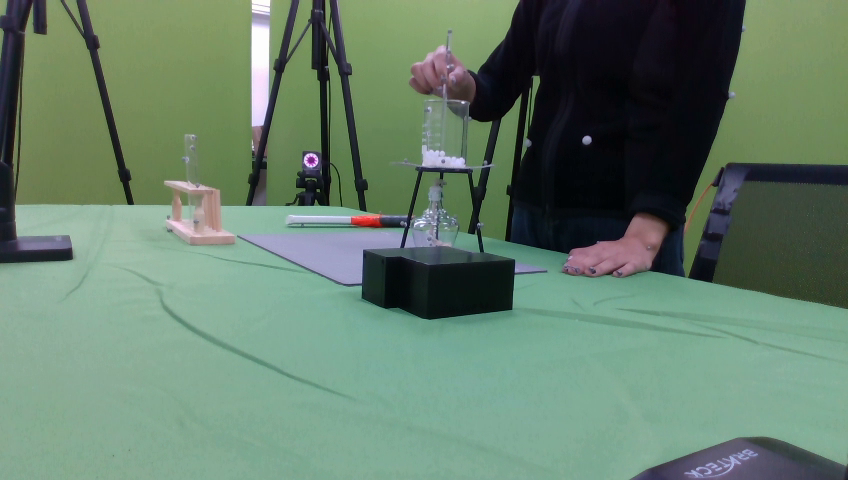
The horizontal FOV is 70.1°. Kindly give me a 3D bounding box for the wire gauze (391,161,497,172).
[{"bbox_3d":[0.028,-0.114,0.920,0.122,0.011,0.124,-5,13,-34],"label":"wire gauze"}]

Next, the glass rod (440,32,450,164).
[{"bbox_3d":[0.032,-0.213,0.904,0.008,0.199,0.008,3,-2,0],"label":"glass rod"}]

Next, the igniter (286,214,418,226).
[{"bbox_3d":[-0.145,-0.043,1.262,0.278,0.025,0.057,-1,-2,-25],"label":"igniter"}]

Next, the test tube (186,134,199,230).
[{"bbox_3d":[-0.360,-0.089,0.946,0.017,0.150,0.017,0,10,0],"label":"test tube"}]

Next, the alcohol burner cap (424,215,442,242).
[{"bbox_3d":[0.017,-0.022,1.098,0.034,0.048,0.034,2,9,0],"label":"alcohol burner cap"}]

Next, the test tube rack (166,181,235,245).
[{"bbox_3d":[-0.383,-0.051,1.024,0.067,0.085,0.241,-2,9,-31],"label":"test tube rack"}]

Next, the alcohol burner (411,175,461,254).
[{"bbox_3d":[0.018,-0.040,0.931,0.078,0.119,0.078,0,7,0],"label":"alcohol burner"}]

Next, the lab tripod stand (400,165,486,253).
[{"bbox_3d":[0.028,-0.049,0.930,0.148,0.131,0.148,2,9,0],"label":"lab tripod stand"}]

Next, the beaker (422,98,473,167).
[{"bbox_3d":[0.031,-0.162,0.919,0.074,0.100,0.083,-4,9,-36],"label":"beaker"}]
